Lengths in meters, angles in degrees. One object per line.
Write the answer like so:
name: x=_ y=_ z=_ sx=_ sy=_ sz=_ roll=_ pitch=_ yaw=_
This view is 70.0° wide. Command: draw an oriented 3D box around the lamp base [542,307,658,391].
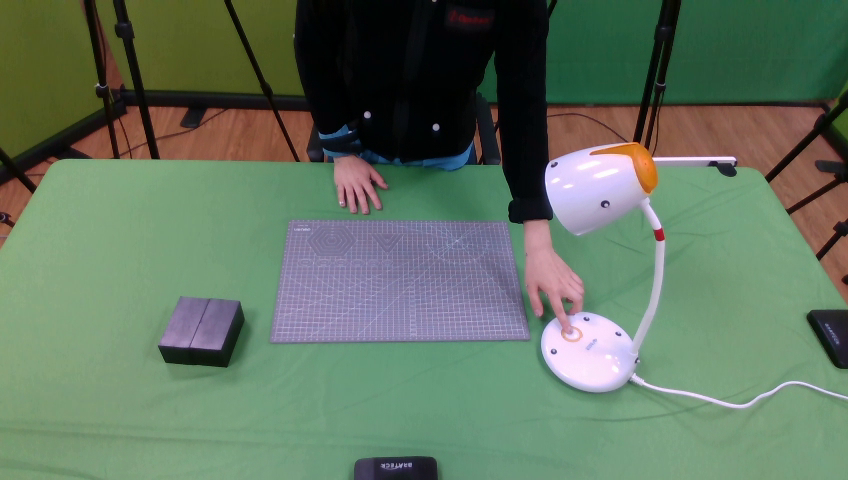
lamp base: x=0.296 y=0.138 z=0.975 sx=0.178 sy=0.181 sz=0.160 roll=28 pitch=51 yaw=18

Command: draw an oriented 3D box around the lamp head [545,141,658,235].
lamp head: x=0.237 y=-0.072 z=0.784 sx=0.123 sy=0.113 sz=0.112 roll=-16 pitch=33 yaw=37
